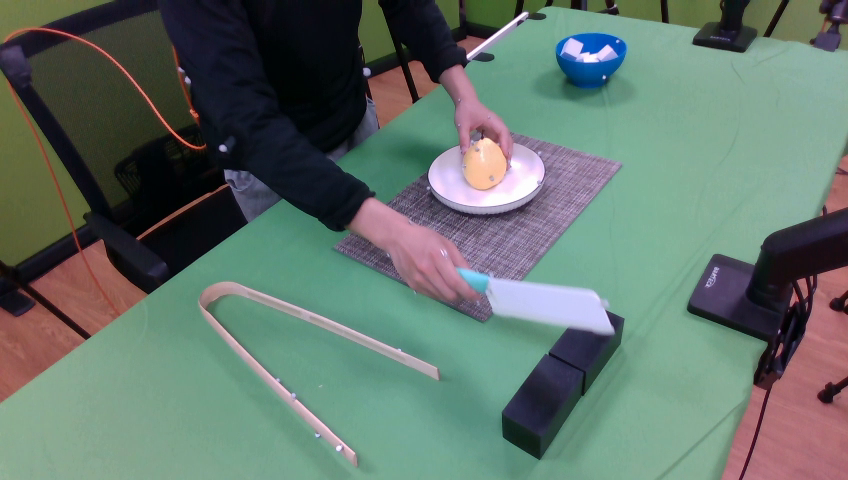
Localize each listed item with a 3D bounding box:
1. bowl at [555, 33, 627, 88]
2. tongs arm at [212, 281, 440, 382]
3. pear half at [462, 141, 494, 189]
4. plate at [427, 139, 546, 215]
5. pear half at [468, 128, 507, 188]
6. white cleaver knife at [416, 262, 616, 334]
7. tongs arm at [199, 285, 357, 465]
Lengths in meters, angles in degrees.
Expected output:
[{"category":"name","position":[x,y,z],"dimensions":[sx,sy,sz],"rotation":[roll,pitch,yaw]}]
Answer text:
[{"category":"bowl","position":[0.360,-0.384,1.317],"dimensions":[0.151,0.077,0.150],"rotation":[-4,41,4]},{"category":"tongs arm","position":[-0.148,0.121,0.846],"dimensions":[0.385,0.028,0.028],"rotation":[17,48,25]},{"category":"pear half","position":[0.087,-0.123,1.026],"dimensions":[0.070,0.088,0.031],"rotation":[29,50,30]},{"category":"plate","position":[0.109,-0.107,1.059],"dimensions":[0.207,0.039,0.206],"rotation":[-4,41,4]},{"category":"pear half","position":[0.111,-0.149,1.039],"dimensions":[0.076,0.110,0.056],"rotation":[31,53,30]},{"category":"white cleaver knife","position":[0.094,0.069,0.725],"dimensions":[0.284,0.066,0.021],"rotation":[8,39,46]},{"category":"tongs arm","position":[-0.199,0.162,0.797],"dimensions":[0.381,0.026,0.051],"rotation":[28,50,35]}]
